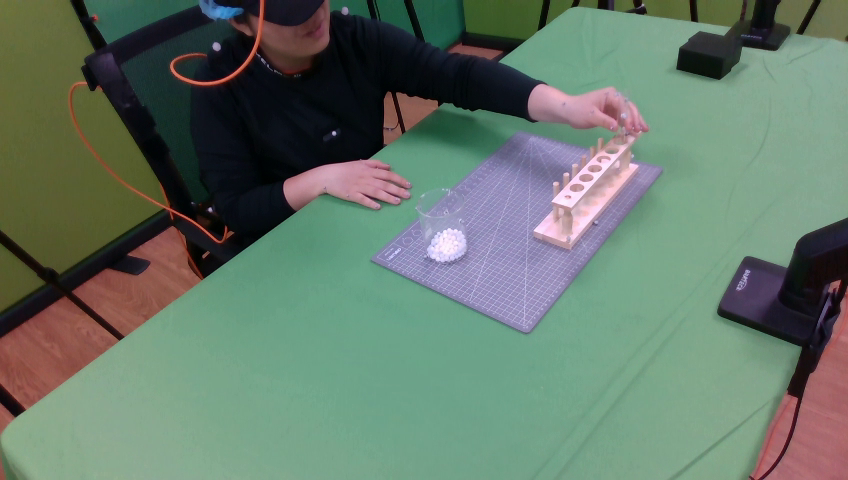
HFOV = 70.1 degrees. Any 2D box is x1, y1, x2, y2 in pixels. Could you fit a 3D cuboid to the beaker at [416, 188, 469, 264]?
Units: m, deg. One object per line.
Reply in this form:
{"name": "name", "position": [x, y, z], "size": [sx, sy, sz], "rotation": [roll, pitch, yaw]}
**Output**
{"name": "beaker", "position": [0.032, -0.021, 0.937], "size": [0.073, 0.101, 0.084], "rotation": [8, 42, 20]}

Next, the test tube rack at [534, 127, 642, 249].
{"name": "test tube rack", "position": [0.271, -0.094, 0.990], "size": [0.066, 0.085, 0.243], "rotation": [23, 49, 33]}

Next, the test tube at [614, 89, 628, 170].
{"name": "test tube", "position": [0.318, -0.175, 0.978], "size": [0.017, 0.151, 0.017], "rotation": [-7, 42, 7]}
